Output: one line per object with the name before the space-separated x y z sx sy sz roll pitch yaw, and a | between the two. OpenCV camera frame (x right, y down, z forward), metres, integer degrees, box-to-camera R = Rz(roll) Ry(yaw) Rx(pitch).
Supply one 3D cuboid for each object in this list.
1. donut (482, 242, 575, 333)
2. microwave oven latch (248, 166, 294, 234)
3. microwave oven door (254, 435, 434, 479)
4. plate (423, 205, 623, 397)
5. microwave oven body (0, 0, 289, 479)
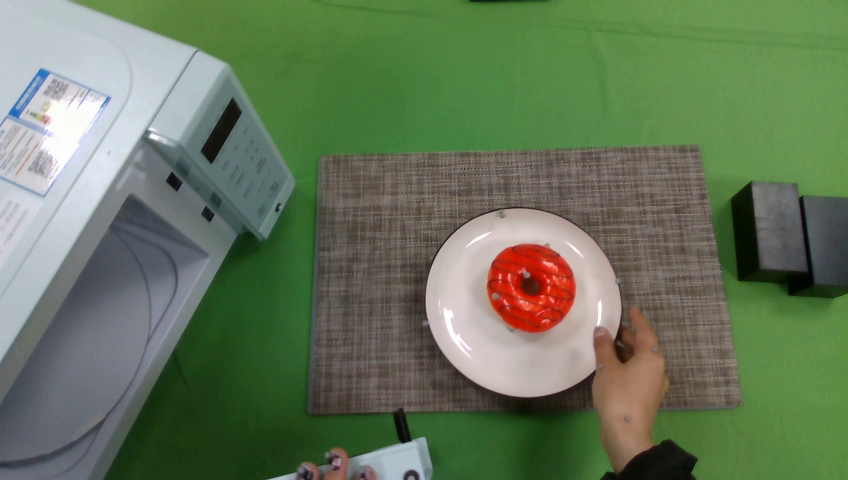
donut | 0.111 0.049 0.644 0.099 0.048 0.098 0 74 -1
microwave oven latch | -0.173 -0.049 0.677 0.030 0.029 0.079 23 75 7
microwave oven door | -0.169 0.219 0.487 0.356 0.245 0.039 -14 72 -3
plate | 0.104 0.064 0.651 0.209 0.038 0.208 0 73 1
microwave oven body | -0.383 0.021 0.557 0.325 0.261 0.440 22 75 7
